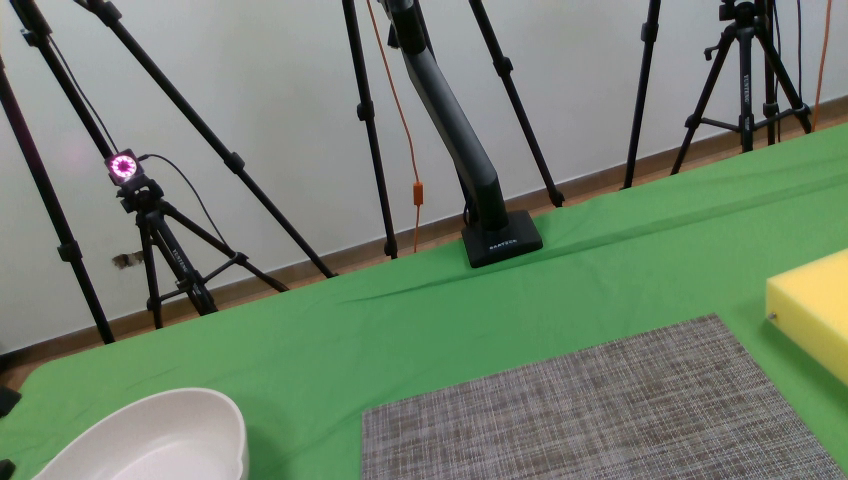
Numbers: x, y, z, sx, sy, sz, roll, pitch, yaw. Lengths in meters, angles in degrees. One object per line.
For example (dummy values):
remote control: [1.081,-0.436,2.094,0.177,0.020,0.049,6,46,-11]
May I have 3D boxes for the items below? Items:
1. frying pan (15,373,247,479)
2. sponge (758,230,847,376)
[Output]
frying pan: [-0.356,0.332,0.616,0.306,0.103,0.485,-10,25,17]
sponge: [0.459,0.077,0.611,0.118,0.061,0.204,-20,32,-3]
